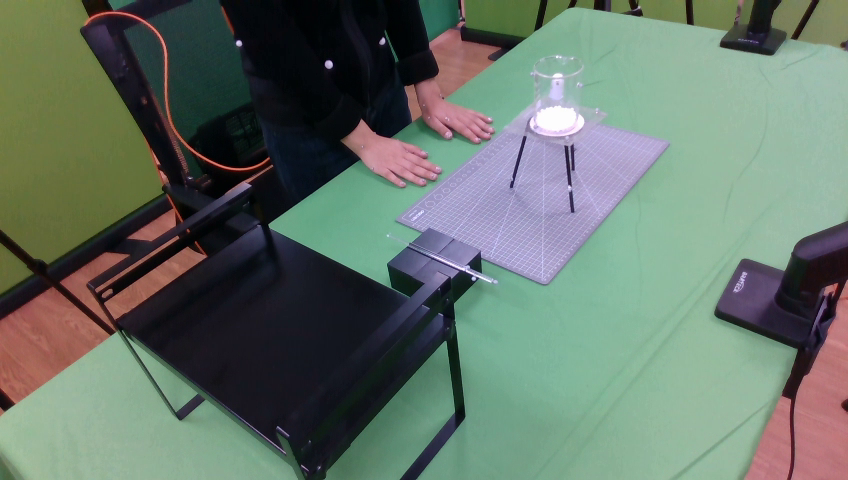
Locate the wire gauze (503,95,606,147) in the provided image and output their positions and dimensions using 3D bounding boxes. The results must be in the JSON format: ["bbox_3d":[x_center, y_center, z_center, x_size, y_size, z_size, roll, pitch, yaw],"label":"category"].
[{"bbox_3d":[0.211,-0.191,0.976,0.120,0.011,0.125,24,52,32],"label":"wire gauze"}]

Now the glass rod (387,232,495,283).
[{"bbox_3d":[0.020,0.025,0.880,0.198,0.008,0.008,23,49,32],"label":"glass rod"}]

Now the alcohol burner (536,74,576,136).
[{"bbox_3d":[0.255,-0.265,1.173,0.078,0.119,0.077,-6,40,5],"label":"alcohol burner"}]

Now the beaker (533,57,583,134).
[{"bbox_3d":[0.208,-0.225,0.941,0.073,0.101,0.084,10,44,20],"label":"beaker"}]

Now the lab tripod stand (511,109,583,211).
[{"bbox_3d":[0.220,-0.138,1.014,0.148,0.132,0.147,-3,41,3],"label":"lab tripod stand"}]

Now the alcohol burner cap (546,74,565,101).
[{"bbox_3d":[0.251,-0.292,1.150,0.034,0.048,0.033,0,41,0],"label":"alcohol burner cap"}]
